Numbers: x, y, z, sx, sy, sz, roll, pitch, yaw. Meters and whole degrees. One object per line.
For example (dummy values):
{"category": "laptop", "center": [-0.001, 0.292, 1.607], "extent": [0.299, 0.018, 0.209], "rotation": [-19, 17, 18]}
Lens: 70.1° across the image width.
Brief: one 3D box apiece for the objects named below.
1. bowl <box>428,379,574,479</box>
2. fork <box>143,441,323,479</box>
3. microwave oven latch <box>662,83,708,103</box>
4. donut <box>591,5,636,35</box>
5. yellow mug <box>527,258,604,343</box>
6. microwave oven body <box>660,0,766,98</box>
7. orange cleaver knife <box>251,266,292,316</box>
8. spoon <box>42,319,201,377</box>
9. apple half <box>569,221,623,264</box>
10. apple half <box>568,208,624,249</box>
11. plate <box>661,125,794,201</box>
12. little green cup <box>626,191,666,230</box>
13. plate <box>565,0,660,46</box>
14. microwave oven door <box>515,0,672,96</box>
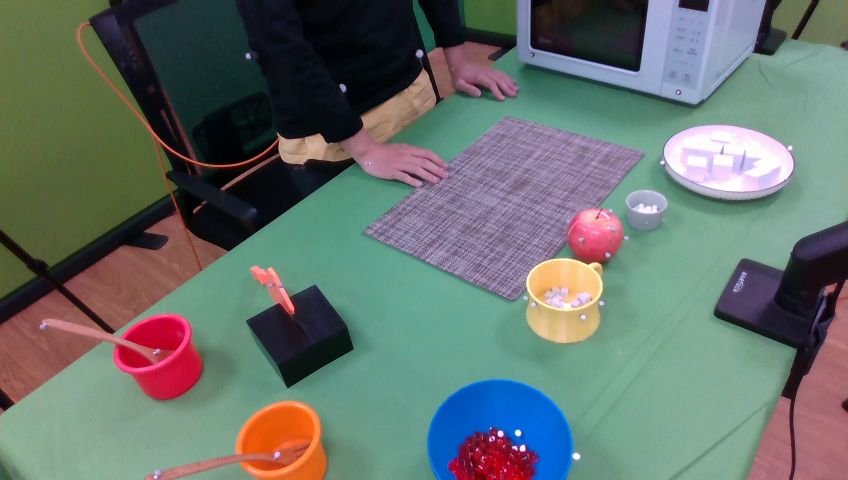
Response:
{"category": "bowl", "center": [0.082, 0.233, 0.644], "extent": [0.151, 0.077, 0.150], "rotation": [-4, 39, 4]}
{"category": "fork", "center": [-0.189, 0.231, 0.631], "extent": [0.028, 0.018, 0.209], "rotation": [35, 13, 37]}
{"category": "microwave oven latch", "center": [0.517, -0.296, 1.204], "extent": [0.078, 0.029, 0.030], "rotation": [27, 52, 35]}
{"category": "donut", "center": [0.427, -0.498, 1.364], "extent": [0.099, 0.048, 0.098], "rotation": [-5, 39, 4]}
{"category": "yellow mug", "center": [0.202, 0.073, 0.825], "extent": [0.131, 0.064, 0.099], "rotation": [-32, 46, -27]}
{"category": "microwave oven body", "center": [0.472, -0.513, 1.317], "extent": [0.438, 0.261, 0.327], "rotation": [26, 51, 34]}
{"category": "orange cleaver knife", "center": [-0.221, 0.071, 0.873], "extent": [0.012, 0.077, 0.210], "rotation": [-25, 11, -21]}
{"category": "spoon", "center": [-0.385, 0.135, 0.779], "extent": [0.195, 0.021, 0.041], "rotation": [29, 37, -26]}
{"category": "apple half", "center": [0.251, 0.010, 0.884], "extent": [0.081, 0.081, 0.032], "rotation": [3, 37, 12]}
{"category": "apple half", "center": [0.259, -0.014, 0.914], "extent": [0.080, 0.075, 0.053], "rotation": [0, 36, 15]}
{"category": "plate", "center": [0.513, -0.128, 1.035], "extent": [0.207, 0.039, 0.206], "rotation": [-4, 40, 4]}
{"category": "little green cup", "center": [0.352, -0.046, 0.963], "extent": [0.061, 0.039, 0.061], "rotation": [-4, 40, 4]}
{"category": "plate", "center": [0.427, -0.490, 1.376], "extent": [0.209, 0.038, 0.208], "rotation": [-5, 40, 5]}
{"category": "microwave oven door", "center": [0.343, -0.454, 1.259], "extent": [0.353, 0.245, 0.039], "rotation": [26, 51, 33]}
